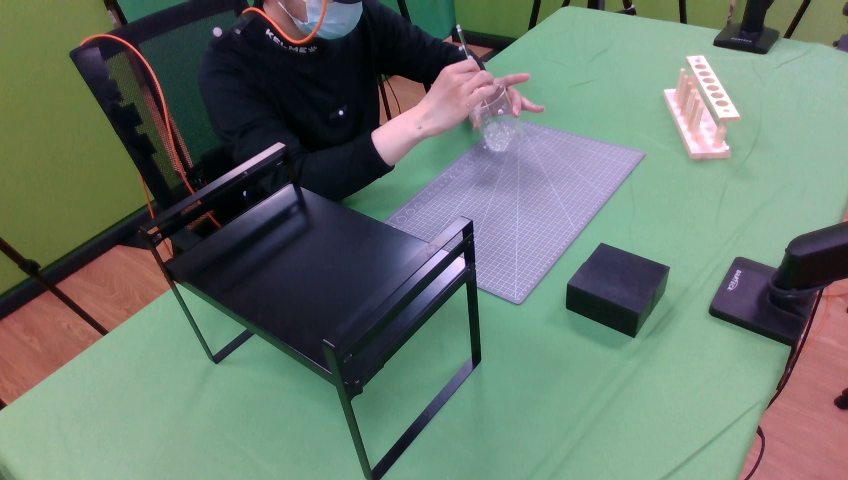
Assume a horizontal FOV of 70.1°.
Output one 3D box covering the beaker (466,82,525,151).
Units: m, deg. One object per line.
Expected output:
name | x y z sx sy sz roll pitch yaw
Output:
beaker | 0.129 -0.213 1.054 0.084 0.101 0.073 -46 36 -20

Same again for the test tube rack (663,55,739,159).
test tube rack | 0.518 -0.256 1.144 0.066 0.085 0.241 -1 41 8

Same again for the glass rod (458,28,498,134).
glass rod | 0.091 -0.262 1.014 0.008 0.201 0.008 -17 37 14
